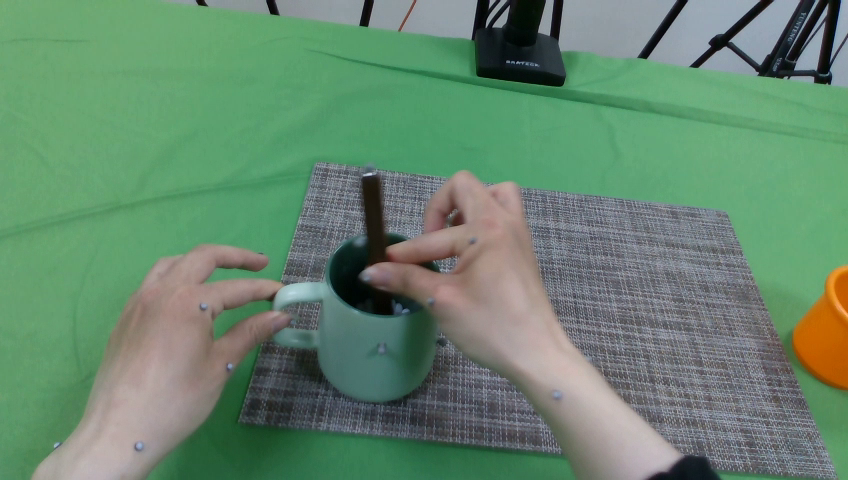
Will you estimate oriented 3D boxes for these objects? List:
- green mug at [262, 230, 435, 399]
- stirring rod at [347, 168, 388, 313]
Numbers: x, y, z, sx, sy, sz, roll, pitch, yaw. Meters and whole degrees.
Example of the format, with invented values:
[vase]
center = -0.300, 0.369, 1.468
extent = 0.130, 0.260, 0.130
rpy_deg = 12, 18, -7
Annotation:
[green mug]
center = -0.054, 0.056, 0.443
extent = 0.125, 0.106, 0.091
rpy_deg = -1, 47, -11
[stirring rod]
center = -0.034, 0.027, 0.405
extent = 0.014, 0.178, 0.005
rpy_deg = -6, 42, -3
